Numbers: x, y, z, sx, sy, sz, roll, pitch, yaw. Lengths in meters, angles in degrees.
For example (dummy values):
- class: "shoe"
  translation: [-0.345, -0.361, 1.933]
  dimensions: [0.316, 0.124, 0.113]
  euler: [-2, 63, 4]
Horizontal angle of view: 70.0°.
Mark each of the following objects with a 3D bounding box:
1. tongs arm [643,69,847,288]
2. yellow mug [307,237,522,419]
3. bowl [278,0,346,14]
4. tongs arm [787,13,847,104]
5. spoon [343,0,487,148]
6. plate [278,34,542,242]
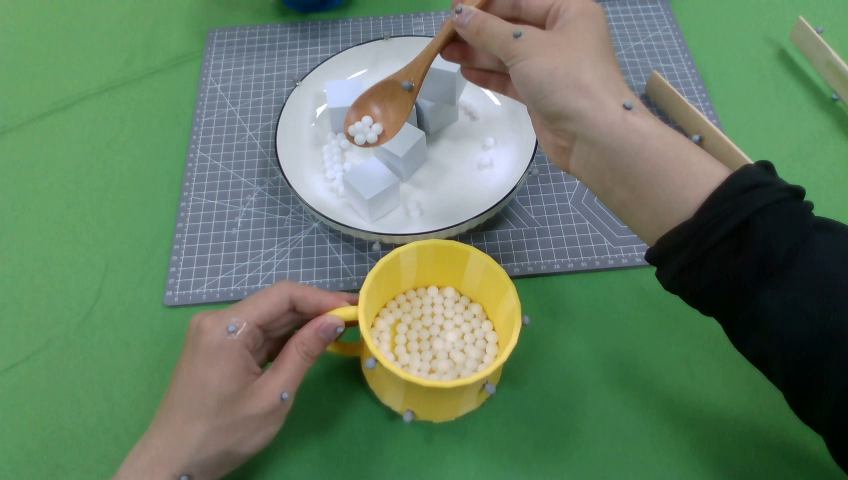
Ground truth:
- class: "tongs arm"
  translation: [0.294, 0.000, 0.437]
  dimensions: [0.028, 0.028, 0.384]
  euler: [-28, 63, -17]
- class: "yellow mug"
  translation: [-0.008, 0.057, 0.386]
  dimensions: [0.131, 0.064, 0.099]
  euler: [-2, 57, -6]
- class: "bowl"
  translation: [-0.114, -0.277, 0.592]
  dimensions: [0.151, 0.077, 0.150]
  euler: [-1, 59, 3]
- class: "tongs arm"
  translation: [0.369, -0.031, 0.448]
  dimensions: [0.051, 0.027, 0.381]
  euler: [-17, 62, -7]
- class: "spoon"
  translation: [0.015, -0.130, 0.385]
  dimensions: [0.194, 0.022, 0.041]
  euler: [-43, 70, 27]
- class: "plate"
  translation: [-0.011, -0.083, 0.492]
  dimensions: [0.207, 0.039, 0.205]
  euler: [-1, 59, 2]
